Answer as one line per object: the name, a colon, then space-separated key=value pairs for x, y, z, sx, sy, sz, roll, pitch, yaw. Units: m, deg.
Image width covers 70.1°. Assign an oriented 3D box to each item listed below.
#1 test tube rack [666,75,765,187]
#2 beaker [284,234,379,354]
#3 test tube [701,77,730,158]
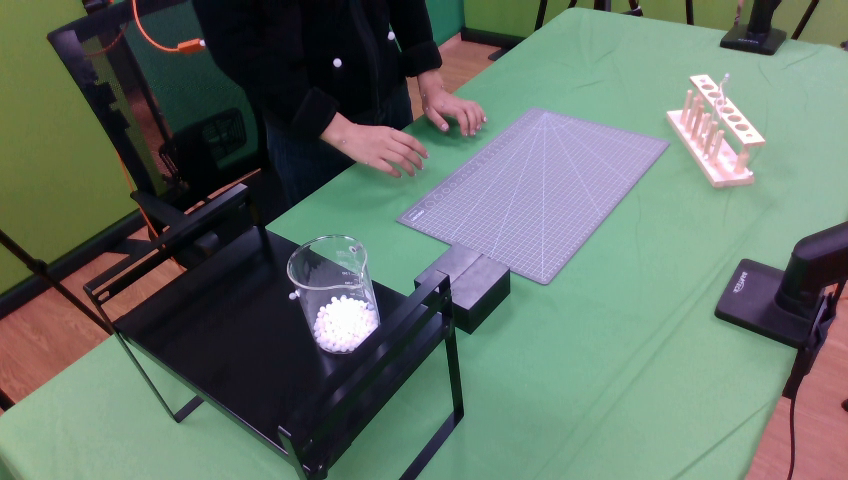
test tube rack: x=0.512 y=-0.201 z=1.082 sx=0.067 sy=0.085 sz=0.241 roll=-6 pitch=41 yaw=2
beaker: x=-0.083 y=0.056 z=0.585 sx=0.083 sy=0.101 sz=0.074 roll=28 pitch=53 yaw=33
test tube: x=0.491 y=-0.204 z=1.020 sx=0.017 sy=0.151 sz=0.017 roll=-4 pitch=41 yaw=4
